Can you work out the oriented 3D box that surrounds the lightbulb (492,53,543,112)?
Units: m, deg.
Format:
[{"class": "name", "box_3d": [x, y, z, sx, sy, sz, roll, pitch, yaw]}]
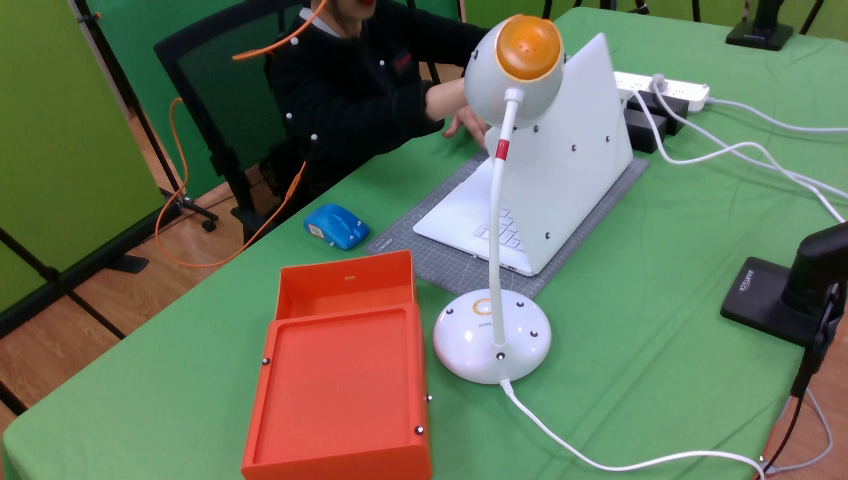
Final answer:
[{"class": "lightbulb", "box_3d": [0.108, -0.181, 0.679, 0.059, 0.059, 0.108, -9, -3, 1]}]

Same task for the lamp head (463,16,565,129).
[{"class": "lamp head", "box_3d": [0.101, -0.184, 0.655, 0.112, 0.112, 0.123, -9, 1, 0]}]

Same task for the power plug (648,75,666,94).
[{"class": "power plug", "box_3d": [0.457, -0.301, 1.212, 0.073, 0.053, 0.035, -36, 47, -28]}]

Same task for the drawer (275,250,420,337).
[{"class": "drawer", "box_3d": [-0.104, 0.117, 0.825, 0.194, 0.073, 0.210, -8, 40, 1]}]

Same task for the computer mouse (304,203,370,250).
[{"class": "computer mouse", "box_3d": [-0.151, -0.027, 1.037, 0.116, 0.041, 0.063, 28, 50, 31]}]

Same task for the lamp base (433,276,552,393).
[{"class": "lamp base", "box_3d": [0.085, 0.075, 0.756, 0.161, 0.181, 0.178, -14, 44, -5]}]

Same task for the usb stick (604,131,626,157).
[{"class": "usb stick", "box_3d": [0.349, -0.175, 1.109, 0.021, 0.027, 0.059, 22, 53, 31]}]

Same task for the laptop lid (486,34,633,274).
[{"class": "laptop lid", "box_3d": [0.227, -0.141, 0.928, 0.013, 0.243, 0.358, 5, 37, 44]}]

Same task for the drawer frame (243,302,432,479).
[{"class": "drawer frame", "box_3d": [-0.096, 0.185, 0.738, 0.202, 0.083, 0.212, -8, 40, 1]}]

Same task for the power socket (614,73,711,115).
[{"class": "power socket", "box_3d": [0.470, -0.303, 1.248, 0.225, 0.033, 0.072, 20, 49, 30]}]

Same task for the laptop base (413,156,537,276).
[{"class": "laptop base", "box_3d": [0.176, -0.077, 1.048, 0.233, 0.023, 0.355, 19, 47, 34]}]
